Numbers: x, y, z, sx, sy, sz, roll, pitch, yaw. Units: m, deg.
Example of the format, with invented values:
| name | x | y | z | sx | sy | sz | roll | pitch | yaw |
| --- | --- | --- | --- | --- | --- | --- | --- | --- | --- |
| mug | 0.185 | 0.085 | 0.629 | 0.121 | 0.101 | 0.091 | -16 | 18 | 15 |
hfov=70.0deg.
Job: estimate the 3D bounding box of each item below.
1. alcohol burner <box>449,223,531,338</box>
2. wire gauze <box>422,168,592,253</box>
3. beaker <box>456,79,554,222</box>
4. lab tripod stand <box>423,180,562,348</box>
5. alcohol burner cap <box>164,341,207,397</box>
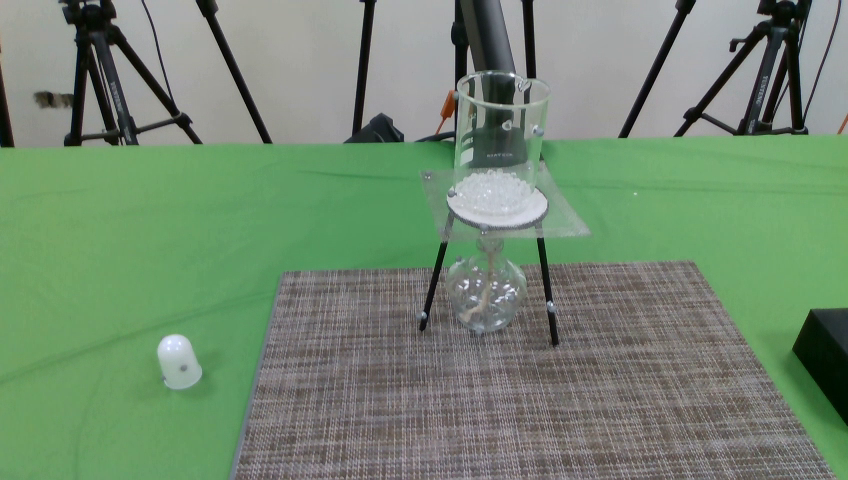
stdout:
| name | x | y | z | sx | sy | sz | roll | pitch | yaw |
| --- | --- | --- | --- | --- | --- | --- | --- | --- | --- |
| alcohol burner | 0.063 | 0.033 | 0.566 | 0.078 | 0.120 | 0.077 | 1 | 36 | 0 |
| wire gauze | 0.067 | -0.028 | 0.522 | 0.125 | 0.011 | 0.120 | -1 | 36 | -9 |
| beaker | 0.065 | -0.073 | 0.500 | 0.073 | 0.101 | 0.084 | 20 | 39 | 24 |
| lab tripod stand | 0.071 | 0.023 | 0.563 | 0.148 | 0.132 | 0.147 | 1 | 34 | -1 |
| alcohol burner cap | -0.210 | 0.110 | 0.527 | 0.034 | 0.048 | 0.033 | 0 | 35 | 0 |
